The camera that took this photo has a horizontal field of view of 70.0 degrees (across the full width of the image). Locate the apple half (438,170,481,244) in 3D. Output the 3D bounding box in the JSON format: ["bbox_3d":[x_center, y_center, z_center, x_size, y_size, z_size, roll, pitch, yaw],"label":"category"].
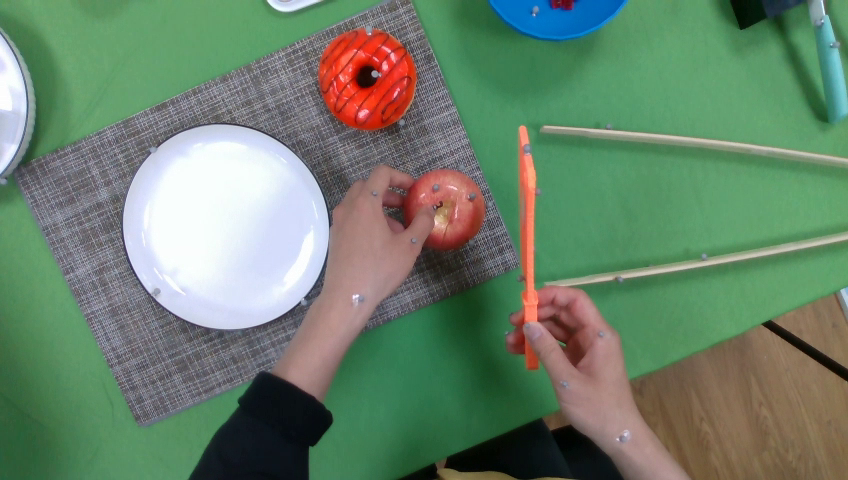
[{"bbox_3d":[0.039,-0.030,0.596,0.033,0.081,0.081,18,96,4],"label":"apple half"}]

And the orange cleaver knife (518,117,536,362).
[{"bbox_3d":[0.084,0.006,0.504,0.012,0.076,0.213,-3,121,6],"label":"orange cleaver knife"}]

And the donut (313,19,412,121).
[{"bbox_3d":[-0.061,-0.167,0.599,0.099,0.048,0.099,0,98,2],"label":"donut"}]

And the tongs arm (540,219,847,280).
[{"bbox_3d":[0.310,-0.010,0.626,0.385,0.026,0.051,-8,93,0],"label":"tongs arm"}]

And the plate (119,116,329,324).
[{"bbox_3d":[-0.199,-0.020,0.618,0.209,0.038,0.209,0,97,0],"label":"plate"}]

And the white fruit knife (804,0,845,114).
[{"bbox_3d":[0.376,-0.216,0.581,0.016,0.027,0.209,-25,110,3],"label":"white fruit knife"}]

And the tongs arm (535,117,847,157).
[{"bbox_3d":[0.306,-0.096,0.619,0.388,0.028,0.028,7,89,-2],"label":"tongs arm"}]

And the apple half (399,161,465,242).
[{"bbox_3d":[0.003,-0.043,0.599,0.053,0.074,0.081,20,101,5],"label":"apple half"}]

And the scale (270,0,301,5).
[{"bbox_3d":[-0.119,-0.348,0.587,0.148,0.031,0.201,-19,97,2],"label":"scale"}]

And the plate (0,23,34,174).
[{"bbox_3d":[-0.491,-0.146,0.606,0.208,0.039,0.208,0,96,0],"label":"plate"}]

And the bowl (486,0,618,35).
[{"bbox_3d":[0.116,-0.265,0.575,0.151,0.076,0.151,0,97,0],"label":"bowl"}]
